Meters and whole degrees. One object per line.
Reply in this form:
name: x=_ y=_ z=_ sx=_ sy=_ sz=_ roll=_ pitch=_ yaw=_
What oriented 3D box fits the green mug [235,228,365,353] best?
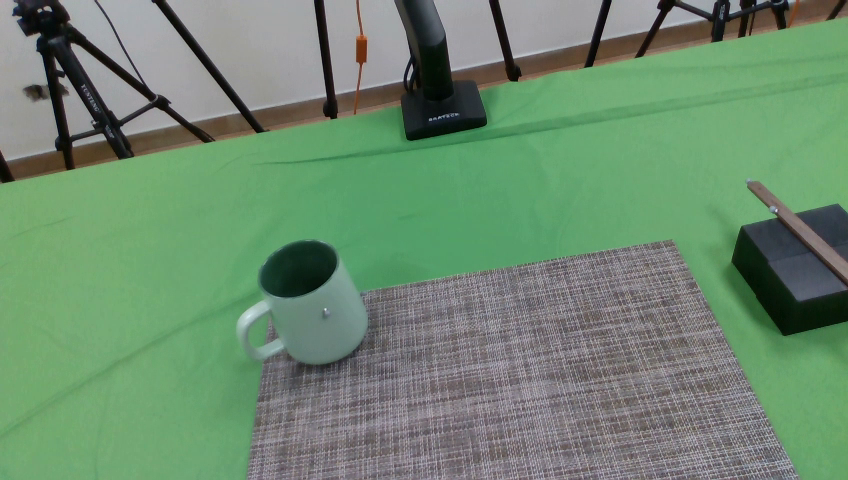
green mug: x=-0.125 y=0.061 z=0.599 sx=0.125 sy=0.106 sz=0.091 roll=-34 pitch=49 yaw=-20

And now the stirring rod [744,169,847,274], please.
stirring rod: x=0.360 y=-0.015 z=0.571 sx=0.014 sy=0.006 sz=0.174 roll=-16 pitch=45 yaw=-5
